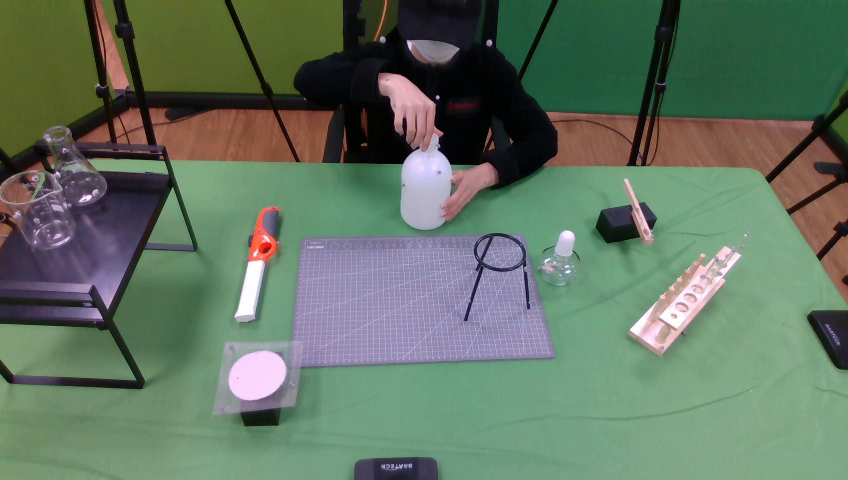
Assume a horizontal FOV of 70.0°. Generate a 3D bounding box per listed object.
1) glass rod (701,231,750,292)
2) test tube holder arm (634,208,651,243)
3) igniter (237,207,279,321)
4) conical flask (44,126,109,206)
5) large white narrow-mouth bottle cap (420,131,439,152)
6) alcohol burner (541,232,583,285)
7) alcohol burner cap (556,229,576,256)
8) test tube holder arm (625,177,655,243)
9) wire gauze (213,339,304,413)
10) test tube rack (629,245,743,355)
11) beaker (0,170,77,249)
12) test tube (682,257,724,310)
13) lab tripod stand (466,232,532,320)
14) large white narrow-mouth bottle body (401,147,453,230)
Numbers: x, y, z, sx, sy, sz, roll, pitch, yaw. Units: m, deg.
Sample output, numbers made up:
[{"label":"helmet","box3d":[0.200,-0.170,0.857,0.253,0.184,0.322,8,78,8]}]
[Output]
[{"label":"glass rod","box3d":[0.519,0.045,1.050,0.008,0.201,0.008,0,55,0]},{"label":"test tube holder arm","box3d":[0.428,-0.030,1.189,0.010,0.015,0.087,1,47,-2]},{"label":"igniter","box3d":[-0.309,0.035,1.136,0.057,0.025,0.274,-7,45,5]},{"label":"conical flask","box3d":[-0.554,-0.119,0.953,0.075,0.122,0.075,2,46,-2]},{"label":"large white narrow-mouth bottle cap","box3d":[0.011,-0.183,1.123,0.038,0.024,0.037,2,46,-2]},{"label":"alcohol burner","box3d":[0.258,0.028,1.123,0.078,0.120,0.077,1,48,-1]},{"label":"alcohol burner cap","box3d":[0.260,0.002,1.098,0.034,0.048,0.033,3,40,-2]},{"label":"test tube holder arm","box3d":[0.433,-0.063,1.220,0.013,0.015,0.177,1,47,-3]},{"label":"wire gauze","box3d":[-0.250,0.203,0.925,0.121,0.011,0.124,-1,46,-3]},{"label":"test tube rack","box3d":[0.474,0.095,1.091,0.242,0.085,0.066,-34,56,-31]},{"label":"beaker","box3d":[-0.562,-0.042,0.894,0.084,0.101,0.073,-2,47,-7]},{"label":"test tube","box3d":[0.475,0.080,1.037,0.017,0.151,0.017,2,51,-2]},{"label":"lab tripod stand","box3d":[0.125,0.059,1.065,0.148,0.132,0.147,1,45,0]},{"label":"large white narrow-mouth bottle body","box3d":[0.005,-0.119,1.191,0.102,0.195,0.101,2,46,-2]}]
